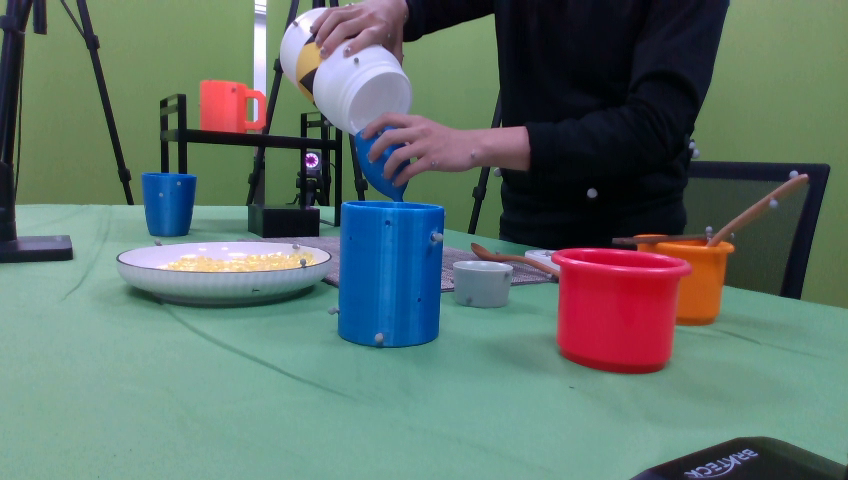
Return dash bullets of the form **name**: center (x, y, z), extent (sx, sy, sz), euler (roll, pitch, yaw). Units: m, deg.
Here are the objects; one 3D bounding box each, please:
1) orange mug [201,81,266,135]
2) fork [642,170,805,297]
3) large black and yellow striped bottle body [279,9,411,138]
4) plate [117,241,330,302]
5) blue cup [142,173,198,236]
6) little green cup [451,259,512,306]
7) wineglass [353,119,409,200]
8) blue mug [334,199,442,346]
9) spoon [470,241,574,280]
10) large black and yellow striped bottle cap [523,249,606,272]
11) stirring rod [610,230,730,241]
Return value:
- **orange mug**: center (-0.377, -0.260, 1.198), extent (0.126, 0.101, 0.083), euler (-3, 8, -6)
- **fork**: center (0.261, 0.003, 0.545), extent (0.028, 0.018, 0.207), euler (5, -37, -16)
- **large black and yellow striped bottle body**: center (-0.115, -0.242, 0.887), extent (0.131, 0.130, 0.183), euler (-5, 42, -45)
- **plate**: center (-0.203, 0.031, 0.630), extent (0.209, 0.038, 0.209), euler (3, 7, 0)
- **blue cup**: center (-0.425, -0.060, 1.014), extent (0.093, 0.100, 0.092), euler (4, 9, 0)
- **little green cup**: center (0.057, 0.043, 0.611), extent (0.061, 0.038, 0.061), euler (3, 8, 0)
- **wineglass**: center (-0.044, -0.076, 0.841), extent (0.074, 0.172, 0.074), euler (-19, -10, -3)
- **blue mug**: center (-0.034, 0.020, 0.498), extent (0.083, 0.106, 0.116), euler (0, 7, -19)
- **spoon**: center (0.124, 0.025, 0.800), extent (0.042, 0.021, 0.192), euler (23, -6, -34)
- **large black and yellow striped bottle cap**: center (0.198, 0.028, 0.851), extent (0.115, 0.019, 0.115), euler (5, 5, 0)
- **stirring rod**: center (0.241, -0.005, 0.582), extent (0.177, 0.006, 0.014), euler (-3, 10, -34)
